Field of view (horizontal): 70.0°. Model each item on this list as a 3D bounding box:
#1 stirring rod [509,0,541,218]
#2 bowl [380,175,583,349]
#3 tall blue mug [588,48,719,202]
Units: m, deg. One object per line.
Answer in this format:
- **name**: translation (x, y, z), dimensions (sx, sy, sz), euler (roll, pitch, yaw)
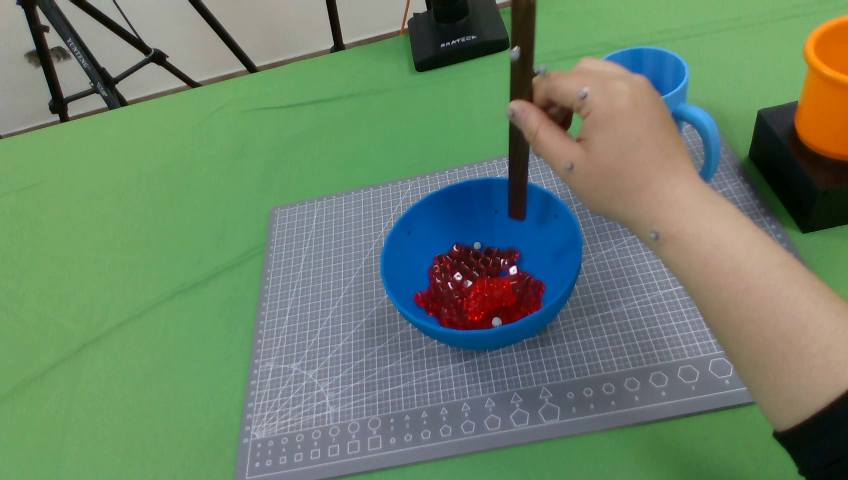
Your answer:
- **stirring rod**: translation (0.062, -0.074, 0.382), dimensions (0.014, 0.178, 0.006), euler (13, 54, 17)
- **bowl**: translation (0.048, 0.029, 0.470), dimensions (0.151, 0.077, 0.150), euler (-8, 48, 9)
- **tall blue mug**: translation (0.194, -0.093, 0.514), dimensions (0.106, 0.109, 0.077), euler (10, 52, 24)
